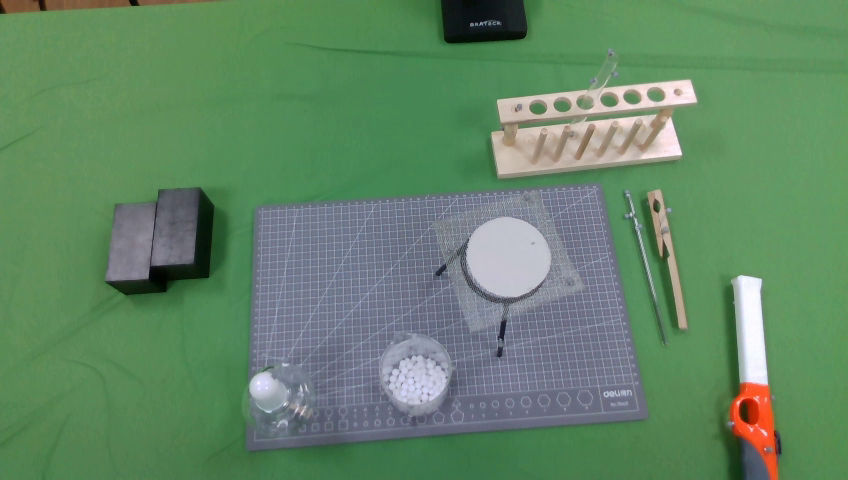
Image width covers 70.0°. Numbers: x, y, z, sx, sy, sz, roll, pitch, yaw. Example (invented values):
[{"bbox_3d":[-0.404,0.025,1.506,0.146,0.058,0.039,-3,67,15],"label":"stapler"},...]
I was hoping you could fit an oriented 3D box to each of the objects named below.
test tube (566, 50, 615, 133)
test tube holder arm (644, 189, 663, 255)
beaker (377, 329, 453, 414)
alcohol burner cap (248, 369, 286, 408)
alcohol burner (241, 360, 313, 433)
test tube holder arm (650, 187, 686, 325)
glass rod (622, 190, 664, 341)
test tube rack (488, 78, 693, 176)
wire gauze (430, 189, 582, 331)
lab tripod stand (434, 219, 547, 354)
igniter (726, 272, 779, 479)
[{"bbox_3d":[0.198,-0.175,0.734,0.017,0.151,0.017,2,67,-4],"label":"test tube"},{"bbox_3d":[0.292,-0.023,0.764,0.010,0.015,0.087,-17,66,29],"label":"test tube holder arm"},{"bbox_3d":[-0.011,0.144,0.652,0.074,0.101,0.083,-24,69,-9],"label":"beaker"},{"bbox_3d":[-0.159,0.146,0.604,0.034,0.048,0.033,0,58,0],"label":"alcohol burner cap"},{"bbox_3d":[-0.158,0.161,0.637,0.078,0.120,0.077,0,66,1],"label":"alcohol burner"},{"bbox_3d":[0.300,0.017,0.746,0.013,0.015,0.177,-17,66,29],"label":"test tube holder arm"},{"bbox_3d":[0.269,0.028,0.749,0.008,0.008,0.198,-5,68,-2],"label":"glass rod"},{"bbox_3d":[0.210,-0.143,0.774,0.242,0.086,0.066,-6,68,-2],"label":"test tube rack"},{"bbox_3d":[0.080,0.015,0.612,0.121,0.011,0.124,-18,70,-6],"label":"wire gauze"},{"bbox_3d":[0.077,0.042,0.673,0.148,0.132,0.147,-1,69,2],"label":"lab tripod stand"},{"bbox_3d":[0.367,0.169,0.684,0.057,0.025,0.274,10,69,-6],"label":"igniter"}]
